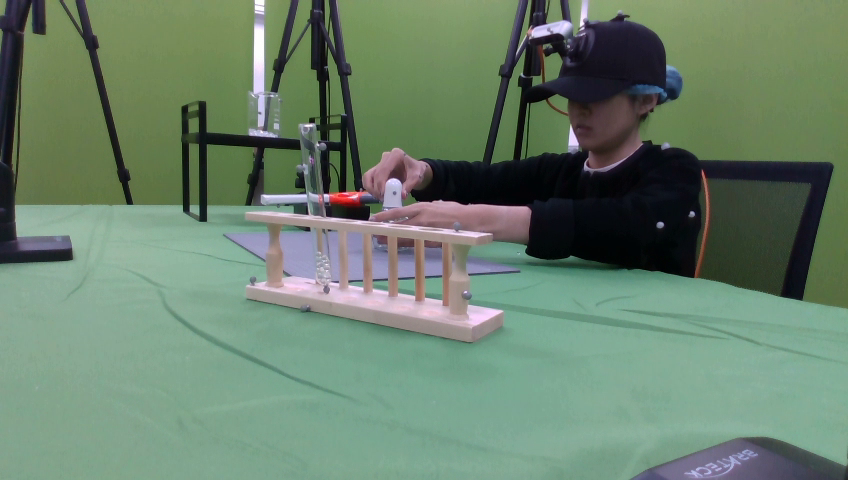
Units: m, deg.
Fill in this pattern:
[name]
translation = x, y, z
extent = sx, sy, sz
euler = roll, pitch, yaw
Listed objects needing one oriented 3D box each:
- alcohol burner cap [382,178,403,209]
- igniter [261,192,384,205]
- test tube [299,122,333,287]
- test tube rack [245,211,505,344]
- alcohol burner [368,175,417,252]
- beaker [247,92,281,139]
[alcohol burner cap]
translation = -0.049, -0.073, 0.942
extent = 0.034, 0.048, 0.034
euler = 2, 8, 0
[igniter]
translation = -0.185, -0.083, 1.217
extent = 0.278, 0.025, 0.057
euler = -2, 12, -25
[test tube]
translation = -0.097, -0.030, 0.543
extent = 0.017, 0.150, 0.017
euler = -3, 14, 1
[test tube rack]
translation = -0.049, 0.025, 0.547
extent = 0.241, 0.085, 0.067
euler = 7, 8, 29
[alcohol burner]
translation = -0.049, -0.042, 0.946
extent = 0.078, 0.119, 0.078
euler = 3, 5, 0
[beaker]
translation = -0.361, -0.280, 1.359
extent = 0.074, 0.100, 0.084
euler = 4, 8, 8
